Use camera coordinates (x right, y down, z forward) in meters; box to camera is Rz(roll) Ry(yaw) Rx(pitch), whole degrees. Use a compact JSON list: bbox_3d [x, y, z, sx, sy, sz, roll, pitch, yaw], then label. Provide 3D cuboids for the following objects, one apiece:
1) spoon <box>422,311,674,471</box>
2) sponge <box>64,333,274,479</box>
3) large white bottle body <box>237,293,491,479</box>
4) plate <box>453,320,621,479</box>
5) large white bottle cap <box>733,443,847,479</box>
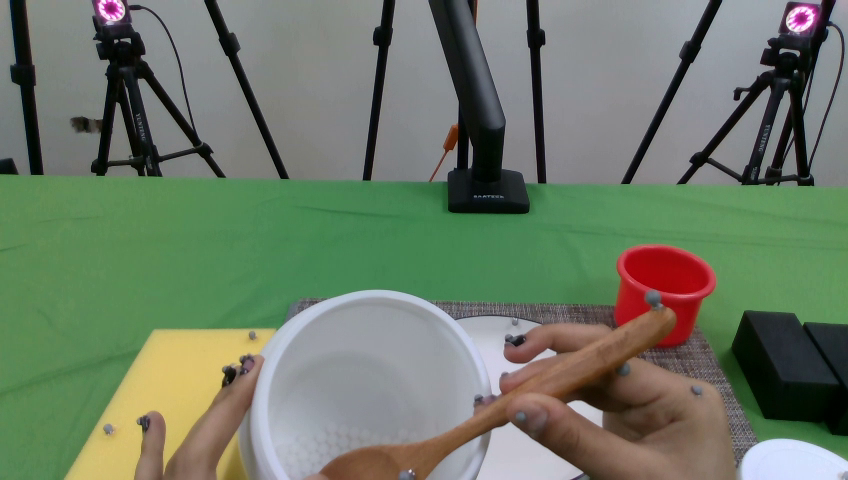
[{"bbox_3d":[0.023,0.085,0.268,0.022,0.194,0.041,23,37,-60],"label":"spoon"},{"bbox_3d":[-0.199,0.165,0.500,0.118,0.061,0.205,-1,32,1],"label":"sponge"},{"bbox_3d":[-0.039,0.110,0.355,0.131,0.185,0.129,5,66,-11],"label":"large white bottle body"},{"bbox_3d":[0.068,0.151,0.546,0.209,0.038,0.207,1,32,0],"label":"plate"},{"bbox_3d":[0.306,0.211,0.477,0.115,0.018,0.114,3,32,-1],"label":"large white bottle cap"}]
